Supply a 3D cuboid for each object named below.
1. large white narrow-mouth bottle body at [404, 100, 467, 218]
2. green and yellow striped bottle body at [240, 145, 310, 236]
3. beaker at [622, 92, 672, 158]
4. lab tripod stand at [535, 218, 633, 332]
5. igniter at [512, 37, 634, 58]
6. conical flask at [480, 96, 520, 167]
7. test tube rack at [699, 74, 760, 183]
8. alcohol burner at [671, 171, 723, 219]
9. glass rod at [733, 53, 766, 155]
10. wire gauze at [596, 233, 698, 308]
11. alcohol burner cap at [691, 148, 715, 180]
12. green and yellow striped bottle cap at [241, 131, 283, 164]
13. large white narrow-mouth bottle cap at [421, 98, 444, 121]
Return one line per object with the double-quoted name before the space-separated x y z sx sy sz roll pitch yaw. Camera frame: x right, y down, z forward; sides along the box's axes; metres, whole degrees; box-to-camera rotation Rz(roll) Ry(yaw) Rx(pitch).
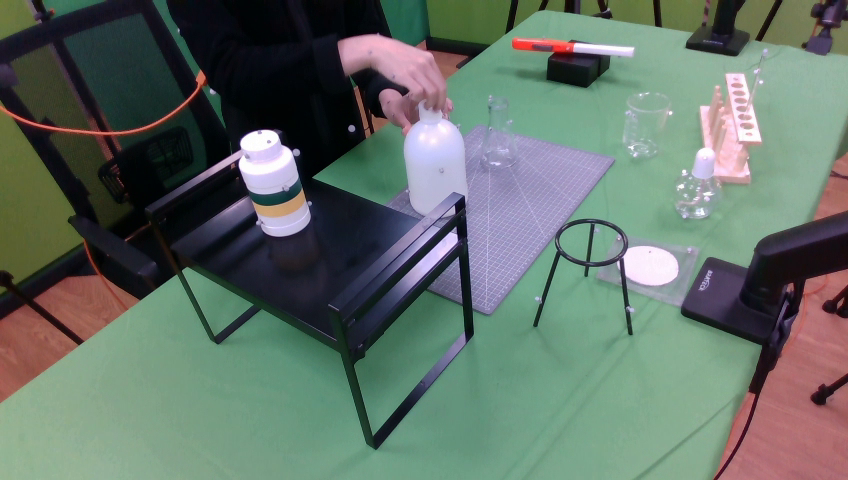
"large white narrow-mouth bottle body" 0.018 -0.138 0.999 0.102 0.195 0.101 -3 40 3
"green and yellow striped bottle body" -0.181 -0.068 0.729 0.063 0.120 0.063 -4 40 4
"beaker" 0.402 -0.210 1.106 0.074 0.101 0.083 -8 40 -2
"lab tripod stand" 0.215 0.050 0.803 0.148 0.132 0.147 -4 42 4
"igniter" 0.328 -0.433 1.360 0.275 0.025 0.057 12 33 20
"conical flask" 0.138 -0.201 1.111 0.075 0.122 0.075 -4 41 4
"test tube rack" 0.547 -0.208 1.095 0.066 0.085 0.242 6 42 16
"alcohol burner" 0.434 -0.093 0.955 0.078 0.119 0.077 -3 43 4
"glass rod" 0.540 -0.220 1.007 0.008 0.201 0.008 -5 45 6
"wire gauze" 0.331 0.038 0.897 0.124 0.011 0.121 18 47 26
"alcohol burner cap" 0.432 -0.120 0.930 0.034 0.048 0.033 -7 48 8
"green and yellow striped bottle cap" -0.187 -0.107 0.695 0.045 0.020 0.045 -4 39 3
"large white narrow-mouth bottle cap" 0.014 -0.204 0.944 0.038 0.024 0.037 -2 40 2
